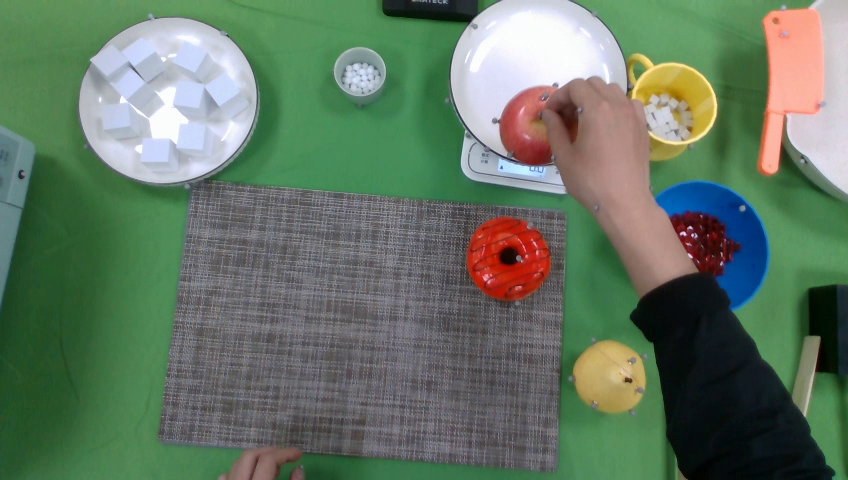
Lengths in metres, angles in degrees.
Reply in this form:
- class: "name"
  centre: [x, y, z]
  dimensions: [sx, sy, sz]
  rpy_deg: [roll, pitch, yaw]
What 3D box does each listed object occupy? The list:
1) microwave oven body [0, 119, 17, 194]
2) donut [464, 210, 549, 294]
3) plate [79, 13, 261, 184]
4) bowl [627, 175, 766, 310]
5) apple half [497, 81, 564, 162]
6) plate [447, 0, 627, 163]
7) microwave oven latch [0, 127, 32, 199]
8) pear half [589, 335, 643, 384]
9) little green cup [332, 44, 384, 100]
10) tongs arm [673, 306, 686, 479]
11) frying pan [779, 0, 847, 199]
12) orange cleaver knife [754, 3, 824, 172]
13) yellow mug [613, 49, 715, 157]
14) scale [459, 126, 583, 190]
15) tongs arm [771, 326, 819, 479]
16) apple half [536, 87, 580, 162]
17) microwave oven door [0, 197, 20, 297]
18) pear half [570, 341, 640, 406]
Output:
- class: "microwave oven body"
  centre: [-0.636, 0.052, 0.562]
  dimensions: [0.326, 0.260, 0.440]
  rpy_deg: [7, 82, -1]
- class: "donut"
  centre: [0.095, 0.014, 0.703]
  dimensions: [0.099, 0.048, 0.098]
  rpy_deg: [0, 82, 0]
- class: "plate"
  centre: [-0.296, -0.165, 0.721]
  dimensions: [0.208, 0.039, 0.207]
  rpy_deg: [0, 82, -2]
- class: "bowl"
  centre: [0.299, 0.007, 0.698]
  dimensions: [0.151, 0.077, 0.151]
  rpy_deg: [0, 83, -2]
- class: "apple half"
  centre: [0.101, -0.124, 0.615]
  dimensions: [0.053, 0.074, 0.081]
  rpy_deg: [17, 92, -4]
- class: "plate"
  centre: [0.130, -0.188, 0.710]
  dimensions: [0.209, 0.038, 0.208]
  rpy_deg: [0, 82, -2]
- class: "microwave oven latch"
  centre: [-0.470, -0.088, 0.685]
  dimensions: [0.030, 0.029, 0.079]
  rpy_deg: [9, 82, -1]
- class: "pear half"
  centre: [0.218, 0.126, 0.672]
  dimensions: [0.070, 0.088, 0.031]
  rpy_deg: [35, 83, 6]
- class: "little green cup"
  centre: [-0.078, -0.201, 0.734]
  dimensions: [0.061, 0.039, 0.061]
  rpy_deg: [0, 81, -1]
- class: "tongs arm"
  centre: [0.307, 0.268, 0.684]
  dimensions: [0.051, 0.026, 0.383]
  rpy_deg: [4, 83, -5]
- class: "frying pan"
  centre: [0.596, -0.081, 0.708]
  dimensions: [0.307, 0.103, 0.485]
  rpy_deg: [-22, 75, -4]
- class: "orange cleaver knife"
  centre: [0.420, -0.178, 0.697]
  dimensions: [0.077, 0.012, 0.210]
  rpy_deg: [9, 82, 2]
- class: "yellow mug"
  centre: [0.278, -0.171, 0.728]
  dimensions: [0.100, 0.064, 0.130]
  rpy_deg: [-28, 83, -5]
- class: "scale"
  centre: [0.128, -0.168, 0.740]
  dimensions: [0.149, 0.031, 0.200]
  rpy_deg: [9, 82, -1]
- class: "tongs arm"
  centre: [0.393, 0.282, 0.688]
  dimensions: [0.028, 0.028, 0.386]
  rpy_deg: [20, 83, -6]
- class: "apple half"
  centre: [0.139, -0.113, 0.619]
  dimensions: [0.033, 0.081, 0.081]
  rpy_deg: [17, 81, -4]
- class: "microwave oven door"
  centre: [-0.496, 0.111, 0.553]
  dimensions: [0.039, 0.244, 0.354]
  rpy_deg: [7, 81, 0]
- class: "pear half"
  centre: [0.195, 0.152, 0.658]
  dimensions: [0.076, 0.110, 0.056]
  rpy_deg: [36, 82, 8]
